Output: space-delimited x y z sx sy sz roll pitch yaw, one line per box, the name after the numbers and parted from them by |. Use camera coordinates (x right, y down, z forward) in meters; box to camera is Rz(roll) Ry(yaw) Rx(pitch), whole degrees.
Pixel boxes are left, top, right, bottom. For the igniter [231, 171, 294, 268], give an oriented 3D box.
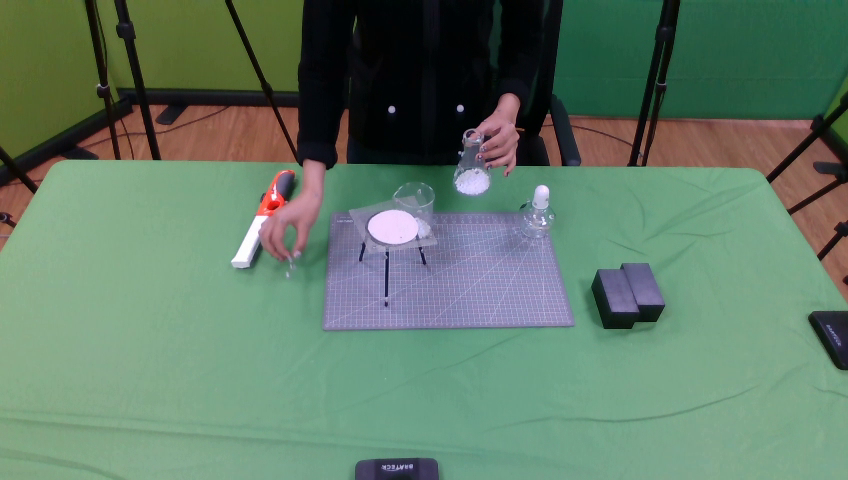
-0.321 -0.051 1.220 0.057 0.025 0.275 1 45 11 | igniter

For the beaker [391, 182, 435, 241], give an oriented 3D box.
-0.023 -0.053 1.192 0.084 0.101 0.073 -2 46 -5 | beaker

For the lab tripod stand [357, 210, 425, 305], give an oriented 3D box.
-0.060 0.020 1.094 0.148 0.132 0.147 3 44 -2 | lab tripod stand

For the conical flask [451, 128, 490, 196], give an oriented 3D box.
0.087 -0.146 1.113 0.075 0.122 0.075 -1 48 1 | conical flask

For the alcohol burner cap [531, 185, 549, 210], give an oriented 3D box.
0.228 -0.085 1.183 0.034 0.048 0.033 -1 48 2 | alcohol burner cap

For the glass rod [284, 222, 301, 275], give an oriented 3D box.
-0.244 0.012 1.134 0.008 0.008 0.198 0 28 -4 | glass rod

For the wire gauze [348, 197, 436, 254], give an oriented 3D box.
-0.056 -0.026 1.045 0.125 0.011 0.120 -12 46 -17 | wire gauze

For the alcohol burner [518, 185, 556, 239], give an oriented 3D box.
0.227 -0.061 1.209 0.078 0.120 0.077 1 44 -1 | alcohol burner
